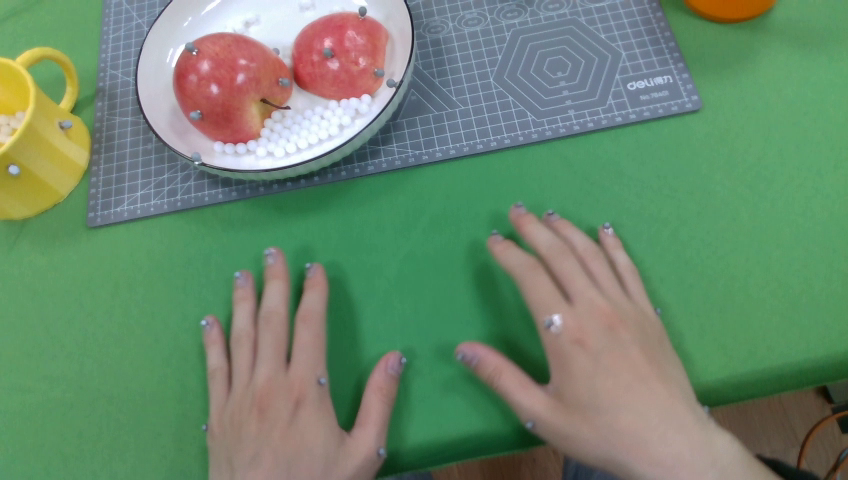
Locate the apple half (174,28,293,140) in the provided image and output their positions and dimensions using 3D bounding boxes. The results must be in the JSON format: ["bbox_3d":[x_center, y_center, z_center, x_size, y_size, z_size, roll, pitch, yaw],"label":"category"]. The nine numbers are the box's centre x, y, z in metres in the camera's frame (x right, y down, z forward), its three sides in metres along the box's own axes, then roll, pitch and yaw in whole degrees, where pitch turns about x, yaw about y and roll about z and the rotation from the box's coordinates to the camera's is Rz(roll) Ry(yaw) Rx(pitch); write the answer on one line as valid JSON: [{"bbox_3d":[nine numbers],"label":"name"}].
[{"bbox_3d":[-0.142,-0.120,0.435,0.074,0.054,0.080,33,75,20],"label":"apple half"}]

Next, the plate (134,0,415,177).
[{"bbox_3d":[-0.109,-0.135,0.456,0.209,0.038,0.207,-2,67,5],"label":"plate"}]

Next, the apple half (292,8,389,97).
[{"bbox_3d":[-0.065,-0.146,0.448,0.081,0.033,0.080,-2,69,5],"label":"apple half"}]

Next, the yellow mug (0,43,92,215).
[{"bbox_3d":[-0.302,-0.090,0.444,0.099,0.064,0.130,22,70,14],"label":"yellow mug"}]
